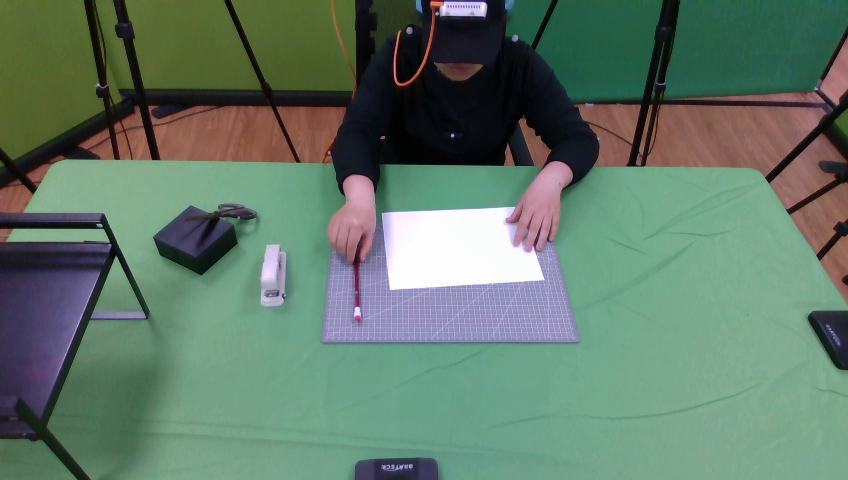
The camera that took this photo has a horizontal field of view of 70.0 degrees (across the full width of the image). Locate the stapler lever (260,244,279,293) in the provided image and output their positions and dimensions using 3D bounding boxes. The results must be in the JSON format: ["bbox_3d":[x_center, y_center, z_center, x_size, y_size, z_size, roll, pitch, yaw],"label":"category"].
[{"bbox_3d":[-0.279,0.045,1.096,0.027,0.040,0.117,-2,44,-9],"label":"stapler lever"}]

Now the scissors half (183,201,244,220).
[{"bbox_3d":[-0.405,-0.054,1.163,0.040,0.013,0.175,29,18,7],"label":"scissors half"}]

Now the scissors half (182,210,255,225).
[{"bbox_3d":[-0.389,-0.042,1.158,0.040,0.013,0.175,41,21,22],"label":"scissors half"}]

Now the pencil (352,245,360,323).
[{"bbox_3d":[-0.127,0.076,1.120,0.012,0.012,0.192,-2,44,-7],"label":"pencil"}]

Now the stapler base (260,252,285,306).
[{"bbox_3d":[-0.279,0.064,1.113,0.041,0.024,0.129,-2,44,-9],"label":"stapler base"}]
